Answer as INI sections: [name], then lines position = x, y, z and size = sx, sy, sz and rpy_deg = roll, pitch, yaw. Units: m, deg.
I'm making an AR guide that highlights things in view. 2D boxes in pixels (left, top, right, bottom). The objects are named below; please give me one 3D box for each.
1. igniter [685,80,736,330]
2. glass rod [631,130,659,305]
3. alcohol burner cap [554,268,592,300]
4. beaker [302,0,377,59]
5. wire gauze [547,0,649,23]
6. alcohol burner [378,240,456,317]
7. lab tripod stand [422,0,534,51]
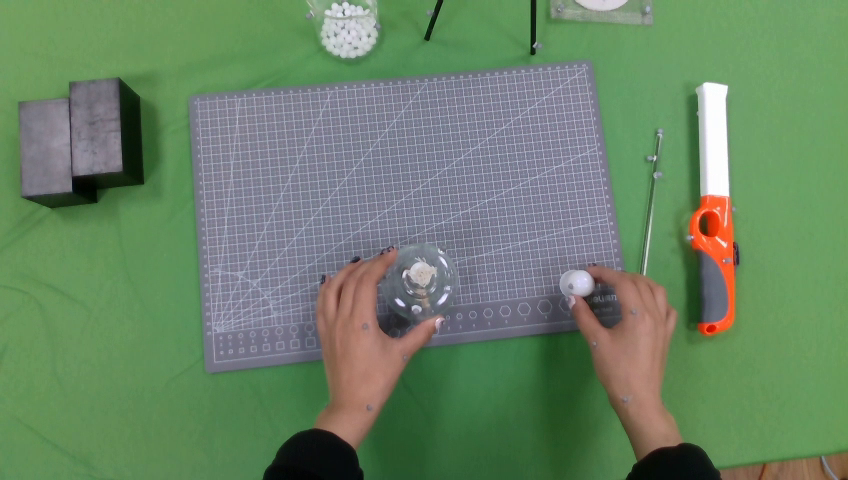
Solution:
[igniter]
position = 0.312, -0.040, 0.661
size = 0.057, 0.025, 0.275
rpy_deg = 5, 82, -12
[glass rod]
position = 0.243, -0.027, 0.666
size = 0.008, 0.008, 0.199
rpy_deg = 10, 82, -1
[alcohol burner cap]
position = 0.158, 0.045, 0.632
size = 0.034, 0.048, 0.033
rpy_deg = 1, 81, -3
[beaker]
position = -0.084, -0.241, 0.637
size = 0.084, 0.100, 0.074
rpy_deg = 39, 82, 3
[wire gauze]
position = 0.200, -0.313, 0.706
size = 0.125, 0.011, 0.121
rpy_deg = 1, 81, 0
[alcohol burner]
position = -0.006, 0.035, 0.590
size = 0.078, 0.119, 0.077
rpy_deg = 1, 79, -3
[lab tripod stand]
position = 0.065, -0.273, 0.631
size = 0.148, 0.132, 0.148
rpy_deg = 0, 80, -1
